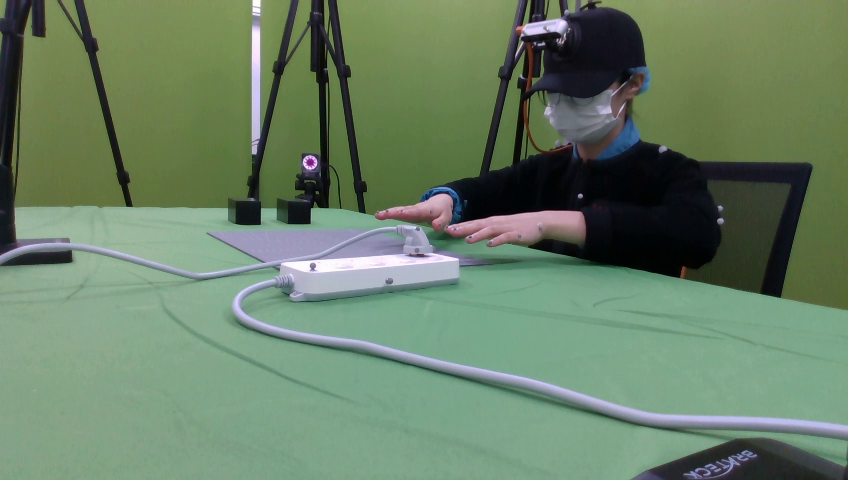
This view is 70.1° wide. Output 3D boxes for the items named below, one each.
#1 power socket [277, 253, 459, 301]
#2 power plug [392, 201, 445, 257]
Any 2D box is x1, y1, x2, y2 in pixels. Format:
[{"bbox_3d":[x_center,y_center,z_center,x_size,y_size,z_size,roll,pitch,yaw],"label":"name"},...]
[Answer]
[{"bbox_3d":[-0.056,0.037,0.675,0.228,0.032,0.072,-3,8,-39],"label":"power socket"},{"bbox_3d":[-0.008,-0.015,0.722,0.053,0.072,0.035,10,2,-17],"label":"power plug"}]
